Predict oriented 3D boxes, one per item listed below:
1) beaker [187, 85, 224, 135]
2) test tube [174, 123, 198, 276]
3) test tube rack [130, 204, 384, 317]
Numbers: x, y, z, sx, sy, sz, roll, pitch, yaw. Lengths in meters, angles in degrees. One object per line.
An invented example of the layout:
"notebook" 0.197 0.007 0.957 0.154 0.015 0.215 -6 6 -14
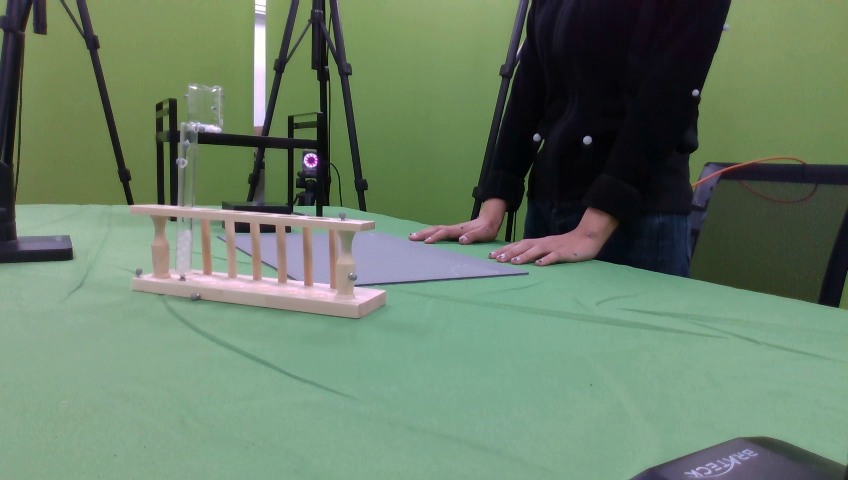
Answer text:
"beaker" -0.466 -0.276 1.296 0.074 0.100 0.083 -3 10 -35
"test tube" -0.232 -0.038 0.588 0.017 0.150 0.017 6 9 -1
"test tube rack" -0.162 0.014 0.589 0.242 0.085 0.067 5 8 17
